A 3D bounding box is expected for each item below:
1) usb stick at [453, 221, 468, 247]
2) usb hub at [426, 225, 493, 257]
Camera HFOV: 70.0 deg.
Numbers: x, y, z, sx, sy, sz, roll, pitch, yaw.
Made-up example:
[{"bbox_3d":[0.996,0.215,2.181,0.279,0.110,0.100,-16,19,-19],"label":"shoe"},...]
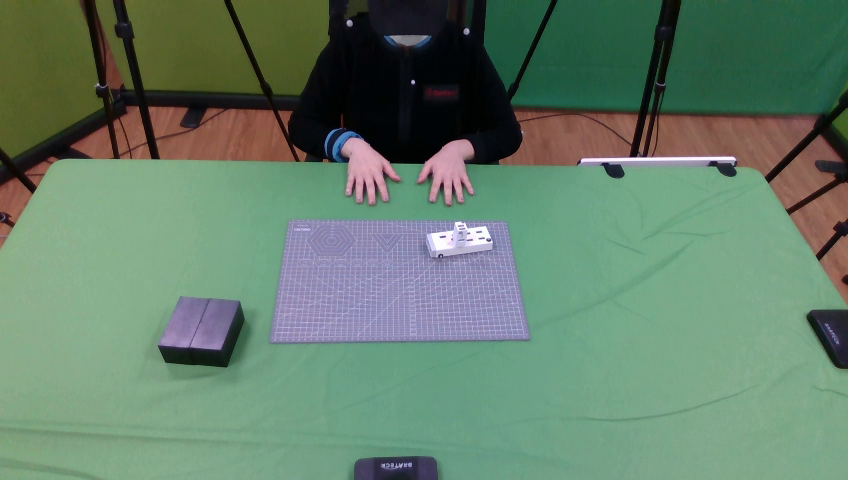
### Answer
[{"bbox_3d":[0.069,-0.006,1.161,0.021,0.059,0.027,-7,48,-13],"label":"usb stick"},{"bbox_3d":[0.070,0.003,1.193,0.125,0.025,0.049,-8,48,-11],"label":"usb hub"}]
